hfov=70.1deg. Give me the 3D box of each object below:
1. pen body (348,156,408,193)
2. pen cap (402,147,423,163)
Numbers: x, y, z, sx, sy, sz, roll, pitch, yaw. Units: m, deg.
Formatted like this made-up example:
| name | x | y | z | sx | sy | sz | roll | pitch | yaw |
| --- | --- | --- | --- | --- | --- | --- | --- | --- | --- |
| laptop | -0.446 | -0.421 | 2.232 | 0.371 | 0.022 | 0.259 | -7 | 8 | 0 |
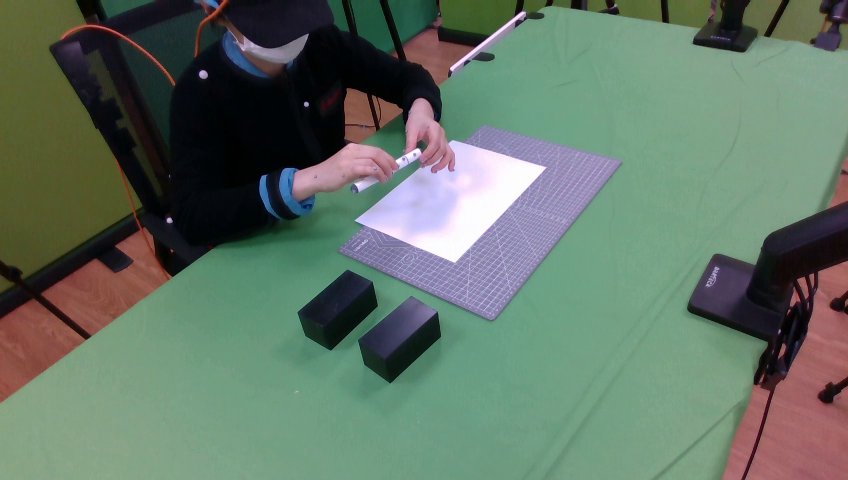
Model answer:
| name | x | y | z | sx | sy | sz | roll | pitch | yaw |
| --- | --- | --- | --- | --- | --- | --- | --- | --- | --- |
| pen body | -0.063 | -0.110 | 0.966 | 0.017 | 0.017 | 0.145 | 28 | 47 | 35 |
| pen cap | -0.019 | -0.141 | 1.001 | 0.017 | 0.017 | 0.038 | 30 | 49 | 35 |
